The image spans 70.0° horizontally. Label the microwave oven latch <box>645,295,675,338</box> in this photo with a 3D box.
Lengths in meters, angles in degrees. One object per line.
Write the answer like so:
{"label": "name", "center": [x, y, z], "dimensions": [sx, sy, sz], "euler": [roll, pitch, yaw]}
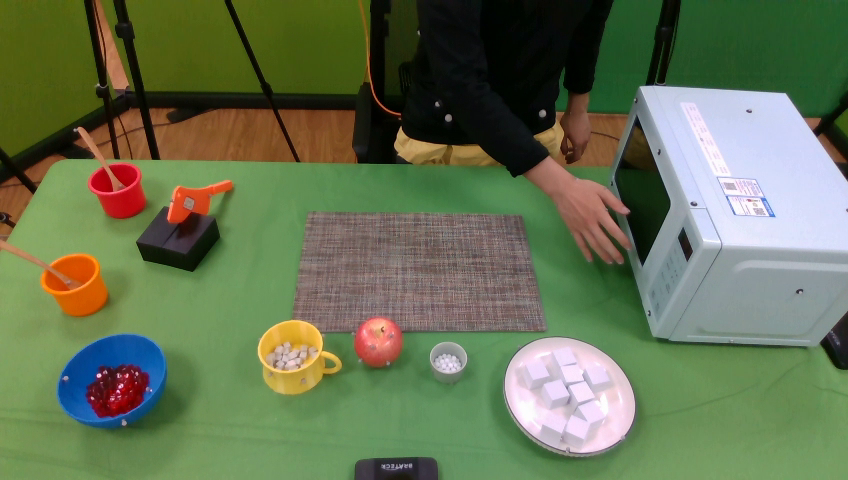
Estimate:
{"label": "microwave oven latch", "center": [0.412, 0.134, 1.061], "dimensions": [0.030, 0.029, 0.078], "euler": [3, 45, 0]}

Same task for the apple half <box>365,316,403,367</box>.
{"label": "apple half", "center": [-0.063, 0.165, 1.000], "dimensions": [0.053, 0.075, 0.080], "euler": [-16, 45, -24]}

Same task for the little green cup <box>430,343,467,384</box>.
{"label": "little green cup", "center": [0.039, 0.203, 0.993], "dimensions": [0.061, 0.039, 0.061], "euler": [2, 46, -2]}

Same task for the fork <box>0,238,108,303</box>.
{"label": "fork", "center": [-0.633, 0.048, 1.017], "dimensions": [0.208, 0.018, 0.028], "euler": [40, 42, -27]}

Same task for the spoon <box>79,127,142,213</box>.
{"label": "spoon", "center": [-0.625, -0.139, 1.203], "dimensions": [0.041, 0.021, 0.194], "euler": [-33, 101, -26]}

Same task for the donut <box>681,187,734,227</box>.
{"label": "donut", "center": [0.553, -0.066, 1.184], "dimensions": [0.099, 0.048, 0.098], "euler": [3, 43, -2]}

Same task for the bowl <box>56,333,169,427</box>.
{"label": "bowl", "center": [-0.456, 0.223, 0.912], "dimensions": [0.151, 0.077, 0.150], "euler": [3, 46, -2]}

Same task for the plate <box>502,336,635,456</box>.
{"label": "plate", "center": [0.225, 0.248, 0.963], "dimensions": [0.208, 0.039, 0.206], "euler": [2, 46, -2]}

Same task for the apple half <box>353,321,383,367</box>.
{"label": "apple half", "center": [-0.097, 0.177, 0.984], "dimensions": [0.033, 0.081, 0.081], "euler": [-17, 49, -24]}

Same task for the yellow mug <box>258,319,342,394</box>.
{"label": "yellow mug", "center": [-0.195, 0.188, 0.972], "dimensions": [0.131, 0.064, 0.099], "euler": [9, 47, 4]}

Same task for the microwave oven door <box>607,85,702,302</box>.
{"label": "microwave oven door", "center": [0.423, -0.094, 1.140], "dimensions": [0.039, 0.245, 0.353], "euler": [2, 46, -1]}

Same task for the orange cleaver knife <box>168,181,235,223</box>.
{"label": "orange cleaver knife", "center": [-0.436, -0.078, 1.196], "dimensions": [0.012, 0.077, 0.211], "euler": [16, 15, 10]}

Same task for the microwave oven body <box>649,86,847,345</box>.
{"label": "microwave oven body", "center": [0.567, -0.053, 1.118], "dimensions": [0.326, 0.261, 0.439], "euler": [2, 45, -1]}

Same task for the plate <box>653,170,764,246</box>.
{"label": "plate", "center": [0.555, -0.059, 1.196], "dimensions": [0.209, 0.038, 0.208], "euler": [2, 46, -2]}
